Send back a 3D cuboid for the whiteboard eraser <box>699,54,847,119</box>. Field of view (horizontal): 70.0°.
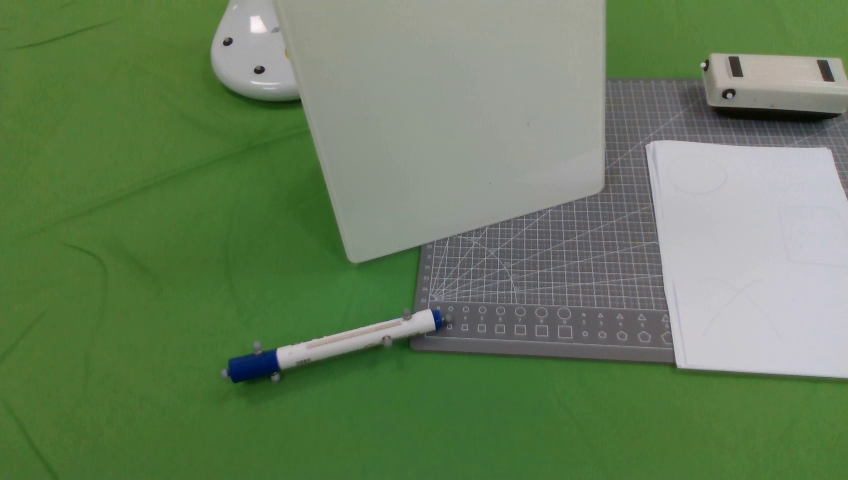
[{"bbox_3d":[0.304,-0.134,0.532,0.112,0.042,0.055,5,54,8],"label":"whiteboard eraser"}]

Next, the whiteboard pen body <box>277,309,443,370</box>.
[{"bbox_3d":[-0.056,0.071,0.417,0.141,0.017,0.017,-14,53,-8],"label":"whiteboard pen body"}]

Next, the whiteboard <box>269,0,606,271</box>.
[{"bbox_3d":[0.004,-0.166,0.452,0.217,0.308,0.142,-16,34,-7],"label":"whiteboard"}]

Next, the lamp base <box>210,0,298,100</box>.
[{"bbox_3d":[-0.155,-0.253,0.573,0.160,0.182,0.177,-38,57,-22],"label":"lamp base"}]

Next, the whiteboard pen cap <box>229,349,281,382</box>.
[{"bbox_3d":[-0.113,0.084,0.409,0.033,0.018,0.018,-13,53,-10],"label":"whiteboard pen cap"}]
